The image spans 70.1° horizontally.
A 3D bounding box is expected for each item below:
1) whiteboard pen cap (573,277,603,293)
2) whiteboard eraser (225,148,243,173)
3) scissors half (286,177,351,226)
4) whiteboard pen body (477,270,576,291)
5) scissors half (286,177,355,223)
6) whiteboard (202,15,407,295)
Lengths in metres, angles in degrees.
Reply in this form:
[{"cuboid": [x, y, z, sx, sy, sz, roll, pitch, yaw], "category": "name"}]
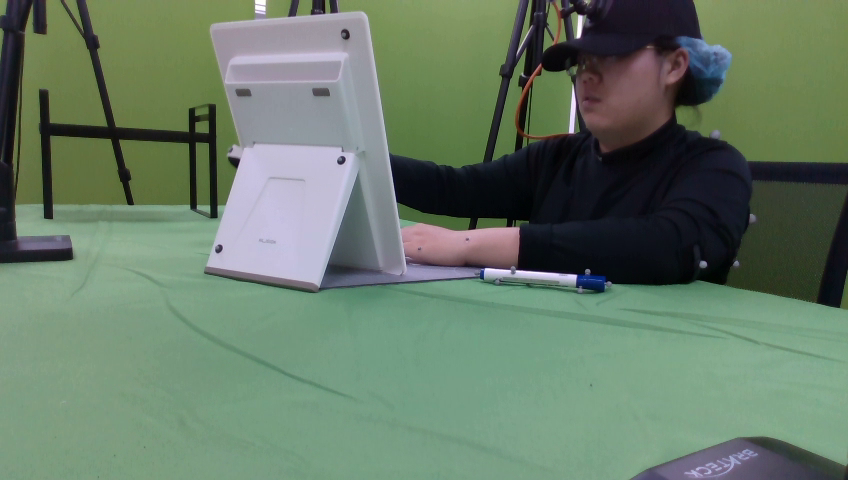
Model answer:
[{"cuboid": [0.186, 0.051, 0.687, 0.033, 0.018, 0.018, 4, 8, 17], "category": "whiteboard pen cap"}, {"cuboid": [-0.283, -0.118, 1.045, 0.113, 0.042, 0.055, 28, -5, -41], "category": "whiteboard eraser"}, {"cuboid": [-0.232, -0.086, 1.317, 0.175, 0.013, 0.040, 37, 17, 5], "category": "scissors half"}, {"cuboid": [0.131, 0.048, 0.706, 0.140, 0.017, 0.017, 4, 8, 18], "category": "whiteboard pen body"}, {"cuboid": [-0.229, -0.091, 1.337, 0.175, 0.013, 0.040, 33, 12, -13], "category": "scissors half"}, {"cuboid": [-0.166, -0.073, 0.668, 0.216, 0.305, 0.144, 7, 30, 28], "category": "whiteboard"}]
